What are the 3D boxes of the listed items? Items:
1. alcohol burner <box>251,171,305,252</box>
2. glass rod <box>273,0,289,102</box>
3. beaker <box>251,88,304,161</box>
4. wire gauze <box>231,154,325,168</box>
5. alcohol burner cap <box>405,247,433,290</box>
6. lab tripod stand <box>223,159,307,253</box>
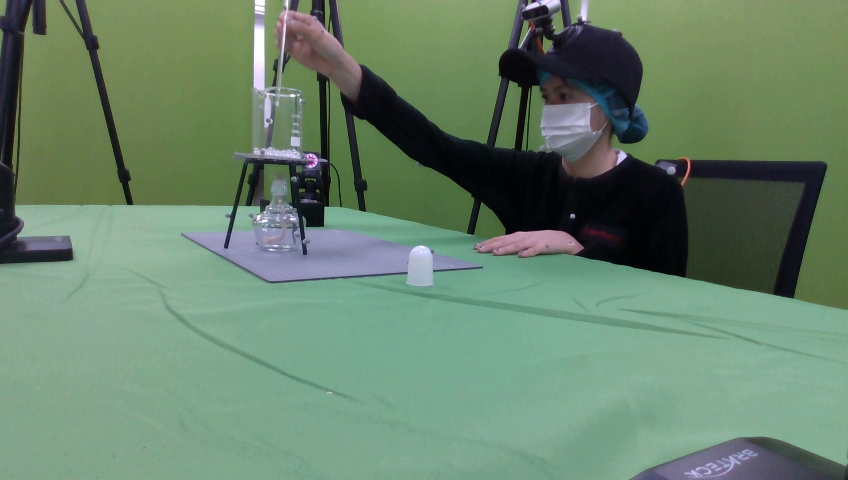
[{"bbox_3d":[-0.214,-0.042,0.888,0.078,0.119,0.078,2,9,0],"label":"alcohol burner"},{"bbox_3d":[-0.211,-0.298,0.897,0.008,0.199,0.008,4,-12,1],"label":"glass rod"},{"bbox_3d":[-0.214,-0.165,0.874,0.074,0.100,0.084,4,6,16],"label":"beaker"},{"bbox_3d":[-0.215,-0.117,0.882,0.125,0.011,0.121,3,7,-19],"label":"wire gauze"},{"bbox_3d":[-0.005,0.031,0.698,0.034,0.048,0.034,3,8,0],"label":"alcohol burner cap"},{"bbox_3d":[-0.220,-0.053,0.896,0.148,0.131,0.148,1,6,0],"label":"lab tripod stand"}]
